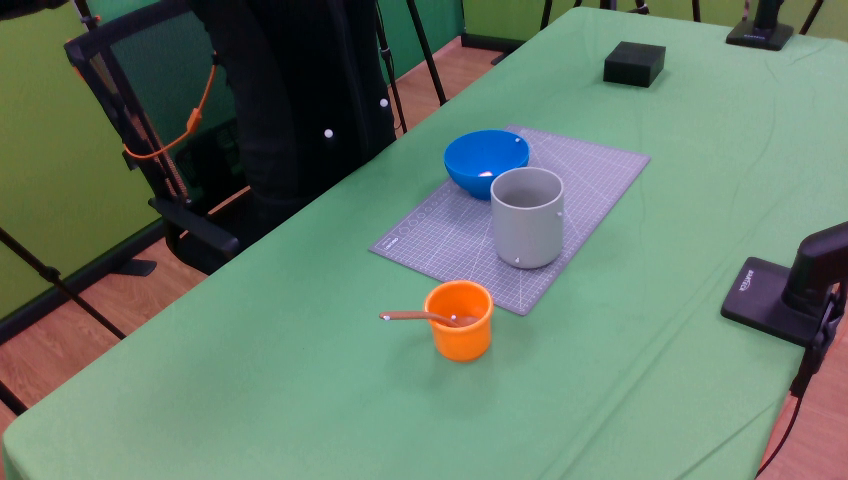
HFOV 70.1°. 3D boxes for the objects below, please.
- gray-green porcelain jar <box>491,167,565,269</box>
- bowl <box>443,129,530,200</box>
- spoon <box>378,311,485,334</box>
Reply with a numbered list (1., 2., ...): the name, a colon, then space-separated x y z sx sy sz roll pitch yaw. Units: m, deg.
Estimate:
1. gray-green porcelain jar: 0.157 -0.029 0.904 0.106 0.127 0.105 -6 40 5
2. bowl: 0.113 -0.123 1.063 0.151 0.077 0.150 -6 40 5
3. spoon: 0.013 0.101 0.767 0.041 0.195 0.021 34 101 41
